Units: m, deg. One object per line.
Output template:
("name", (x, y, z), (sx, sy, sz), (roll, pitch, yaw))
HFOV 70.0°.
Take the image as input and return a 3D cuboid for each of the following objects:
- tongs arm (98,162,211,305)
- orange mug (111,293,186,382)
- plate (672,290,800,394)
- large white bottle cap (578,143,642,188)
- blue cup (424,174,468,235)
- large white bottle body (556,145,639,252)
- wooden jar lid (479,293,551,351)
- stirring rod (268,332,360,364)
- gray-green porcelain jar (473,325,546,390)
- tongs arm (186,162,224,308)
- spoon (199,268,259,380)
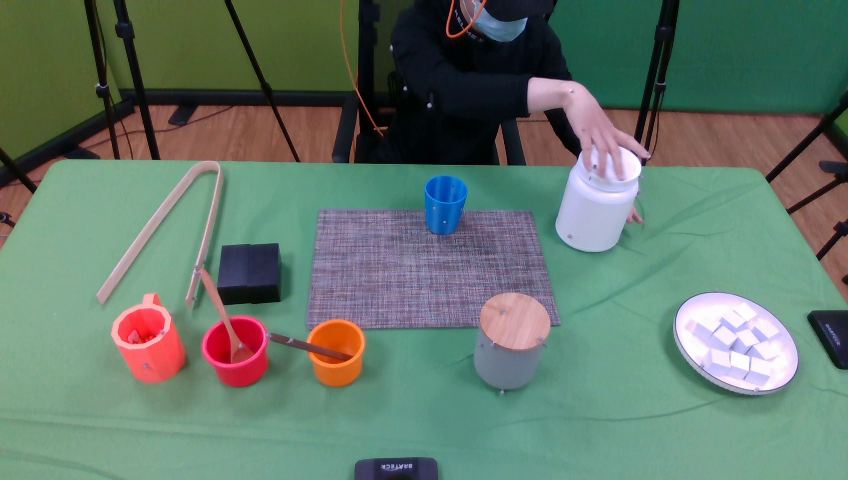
("tongs arm", (-0.519, -0.027, 1.184), (0.028, 0.028, 0.385), (5, 45, 13))
("orange mug", (-0.435, 0.149, 0.969), (0.083, 0.101, 0.125), (-5, 51, -8))
("plate", (0.533, 0.178, 1.050), (0.208, 0.039, 0.206), (2, 46, -2))
("large white bottle cap", (0.345, -0.140, 1.124), (0.115, 0.018, 0.114), (2, 46, -2))
("blue cup", (0.039, -0.065, 1.201), (0.093, 0.101, 0.092), (3, 47, -3))
("large white bottle body", (0.340, -0.081, 1.184), (0.131, 0.185, 0.130), (2, 47, -2))
("wooden jar lid", (0.138, 0.127, 0.925), (0.108, 0.021, 0.107), (1, 47, -1))
("stirring rod", (-0.167, 0.169, 0.942), (0.177, 0.006, 0.014), (26, 26, -41))
("gray-green porcelain jar", (0.135, 0.170, 0.969), (0.106, 0.127, 0.105), (2, 46, -2))
("tongs arm", (-0.435, -0.025, 1.181), (0.051, 0.027, 0.382), (-3, 45, 1))
("spoon", (-0.312, 0.132, 0.962), (0.041, 0.021, 0.194), (-24, 96, -22))
